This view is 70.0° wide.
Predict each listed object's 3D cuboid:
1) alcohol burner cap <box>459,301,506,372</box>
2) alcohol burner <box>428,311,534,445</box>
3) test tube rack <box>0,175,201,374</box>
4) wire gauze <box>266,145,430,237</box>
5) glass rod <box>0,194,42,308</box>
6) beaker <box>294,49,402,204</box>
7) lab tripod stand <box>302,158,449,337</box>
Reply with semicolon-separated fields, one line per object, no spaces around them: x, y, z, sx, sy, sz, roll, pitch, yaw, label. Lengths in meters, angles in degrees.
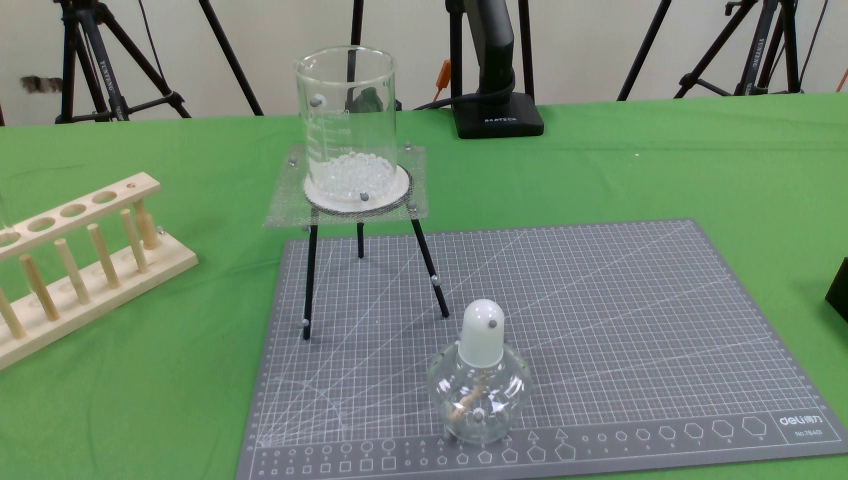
0.041;0.062;0.411;0.034;0.048;0.033;1;38;-1;alcohol burner cap
0.041;0.091;0.433;0.078;0.120;0.077;0;39;0;alcohol burner
-0.336;0.035;0.546;0.066;0.086;0.242;28;45;33;test tube rack
-0.057;-0.045;0.490;0.121;0.011;0.124;-1;39;-1;wire gauze
-0.359;-0.025;0.515;0.008;0.201;0.008;0;30;0;glass rod
-0.058;-0.085;0.463;0.083;0.101;0.074;22;42;25;beaker
-0.048;0.006;0.533;0.148;0.132;0.147;1;36;0;lab tripod stand
